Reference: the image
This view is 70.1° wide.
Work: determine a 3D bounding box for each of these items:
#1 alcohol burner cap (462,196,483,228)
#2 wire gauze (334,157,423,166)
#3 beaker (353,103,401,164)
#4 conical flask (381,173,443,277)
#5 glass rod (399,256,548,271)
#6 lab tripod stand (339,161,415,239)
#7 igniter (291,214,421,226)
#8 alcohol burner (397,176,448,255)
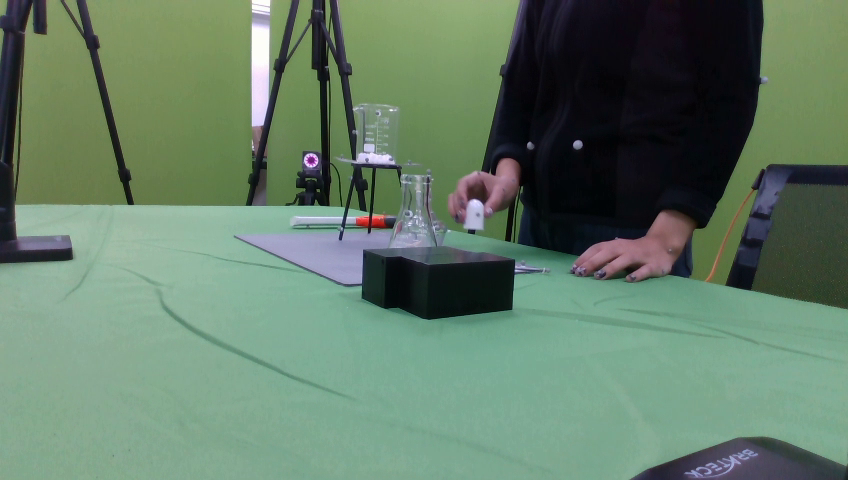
[{"bbox_3d":[0.074,-0.042,0.913,0.034,0.048,0.034,2,2,0],"label":"alcohol burner cap"},{"bbox_3d":[-0.081,-0.135,1.051,0.122,0.011,0.124,2,5,-30],"label":"wire gauze"},{"bbox_3d":[-0.084,-0.183,1.045,0.084,0.100,0.074,4,6,3],"label":"beaker"},{"bbox_3d":[-0.012,-0.020,0.731,0.075,0.122,0.075,2,7,0],"label":"conical flask"},{"bbox_3d":[0.064,0.030,0.805,0.199,0.008,0.008,4,7,10],"label":"glass rod"},{"bbox_3d":[-0.082,-0.070,1.059,0.148,0.131,0.148,4,6,0],"label":"lab tripod stand"},{"bbox_3d":[-0.135,-0.041,1.250,0.278,0.025,0.057,-1,-3,-28],"label":"igniter"},{"bbox_3d":[-0.001,-0.037,0.903,0.078,0.119,0.078,4,9,0],"label":"alcohol burner"}]
